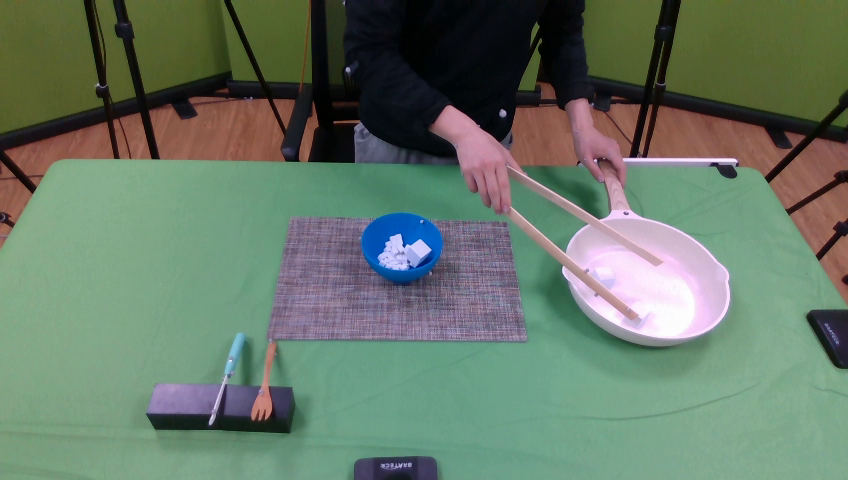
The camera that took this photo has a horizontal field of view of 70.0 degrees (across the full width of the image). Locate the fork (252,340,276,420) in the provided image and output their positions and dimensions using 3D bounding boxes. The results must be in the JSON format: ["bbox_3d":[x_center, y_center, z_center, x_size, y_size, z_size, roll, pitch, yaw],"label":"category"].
[{"bbox_3d":[-0.242,0.211,0.932,0.028,0.019,0.206,-5,27,-7],"label":"fork"}]

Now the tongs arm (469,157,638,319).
[{"bbox_3d":[0.226,-0.004,1.059,0.384,0.026,0.050,39,62,2],"label":"tongs arm"}]

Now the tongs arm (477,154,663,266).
[{"bbox_3d":[0.264,-0.053,1.094,0.388,0.028,0.028,31,66,-3],"label":"tongs arm"}]

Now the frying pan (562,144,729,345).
[{"bbox_3d":[0.397,-0.008,1.179,0.307,0.103,0.484,1,55,-4],"label":"frying pan"}]

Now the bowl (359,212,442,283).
[{"bbox_3d":[-0.044,0.026,1.125,0.151,0.077,0.150,2,46,-2],"label":"bowl"}]

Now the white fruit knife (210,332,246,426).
[{"bbox_3d":[-0.301,0.206,0.930,0.016,0.027,0.206,5,29,-7],"label":"white fruit knife"}]
